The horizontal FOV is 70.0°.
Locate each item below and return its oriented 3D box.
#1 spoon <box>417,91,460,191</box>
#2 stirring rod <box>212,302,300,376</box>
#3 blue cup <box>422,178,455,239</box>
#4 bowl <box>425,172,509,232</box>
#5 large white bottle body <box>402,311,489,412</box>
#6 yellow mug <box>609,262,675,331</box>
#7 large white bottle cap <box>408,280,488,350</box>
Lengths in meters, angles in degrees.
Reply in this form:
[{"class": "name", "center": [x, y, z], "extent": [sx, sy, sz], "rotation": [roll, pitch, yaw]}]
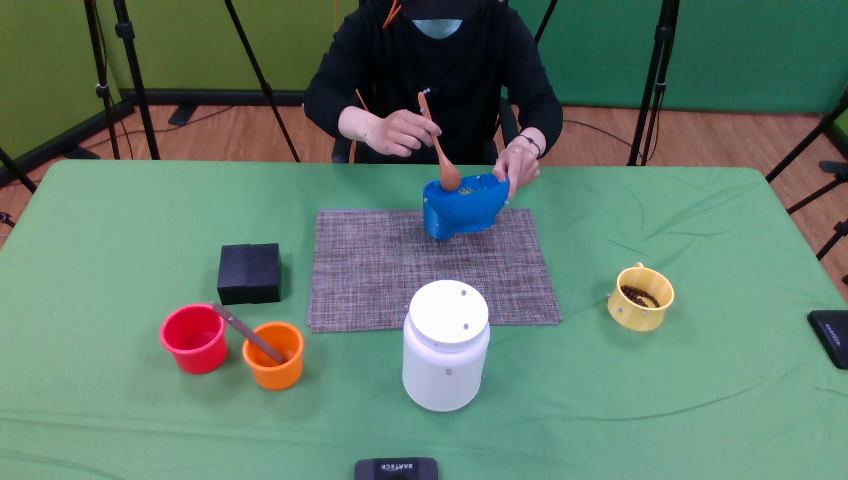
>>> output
[{"class": "spoon", "center": [0.021, -0.174, 1.087], "extent": [0.041, 0.194, 0.021], "rotation": [-26, 21, -7]}, {"class": "stirring rod", "center": [-0.261, 0.156, 0.948], "extent": [0.177, 0.006, 0.014], "rotation": [46, 45, -20]}, {"class": "blue cup", "center": [0.036, -0.056, 1.192], "extent": [0.093, 0.101, 0.092], "rotation": [3, 45, -3]}, {"class": "bowl", "center": [0.082, -0.063, 1.078], "extent": [0.151, 0.077, 0.151], "rotation": [-12, 16, 4]}, {"class": "large white bottle body", "center": [0.031, 0.163, 0.928], "extent": [0.131, 0.185, 0.130], "rotation": [2, 46, -1]}, {"class": "yellow mug", "center": [0.393, 0.094, 1.103], "extent": [0.100, 0.064, 0.130], "rotation": [7, 45, 4]}, {"class": "large white bottle cap", "center": [0.034, 0.105, 0.867], "extent": [0.115, 0.018, 0.114], "rotation": [2, 46, -1]}]
